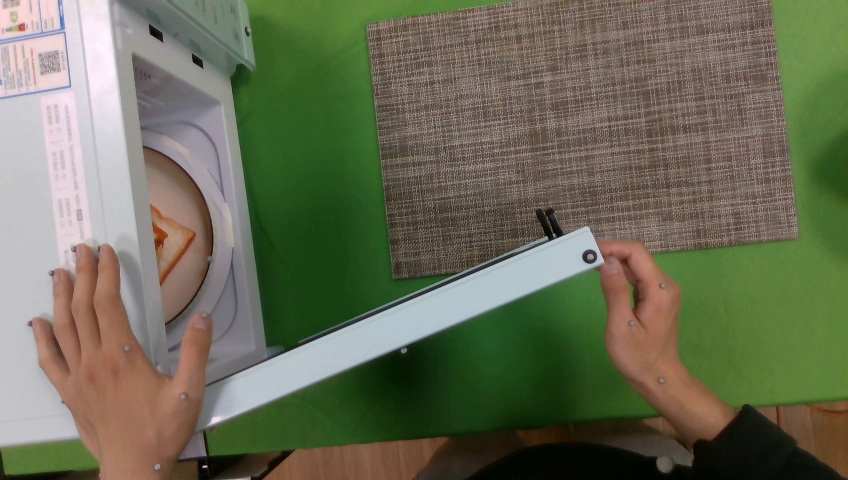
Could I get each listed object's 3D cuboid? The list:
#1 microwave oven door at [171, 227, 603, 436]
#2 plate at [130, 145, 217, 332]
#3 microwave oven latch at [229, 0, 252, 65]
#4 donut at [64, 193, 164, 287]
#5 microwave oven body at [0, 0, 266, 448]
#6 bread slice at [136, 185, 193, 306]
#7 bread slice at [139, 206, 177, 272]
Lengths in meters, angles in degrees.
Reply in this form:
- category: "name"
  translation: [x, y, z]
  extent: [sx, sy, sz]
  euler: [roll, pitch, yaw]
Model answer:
- category: "microwave oven door"
  translation: [-0.021, 0.071, 0.570]
  extent: [0.356, 0.244, 0.039]
  euler: [-24, 86, 6]
- category: "plate"
  translation: [-0.321, 0.002, 0.658]
  extent: [0.207, 0.039, 0.207]
  euler: [0, 90, 5]
- category: "microwave oven latch"
  translation: [-0.218, -0.244, 0.690]
  extent: [0.030, 0.029, 0.079]
  euler: [-8, 90, 5]
- category: "donut"
  translation: [-0.321, 0.000, 0.628]
  extent: [0.099, 0.048, 0.099]
  euler: [0, 89, 1]
- category: "microwave oven body"
  translation: [-0.349, -0.048, 0.608]
  extent: [0.326, 0.260, 0.441]
  euler: [-9, 90, 5]
- category: "bread slice"
  translation: [-0.321, -0.003, 0.658]
  extent: [0.134, 0.018, 0.107]
  euler: [29, 84, -7]
- category: "bread slice"
  translation: [-0.328, -0.003, 0.601]
  extent: [0.131, 0.019, 0.105]
  euler: [39, 95, 2]
